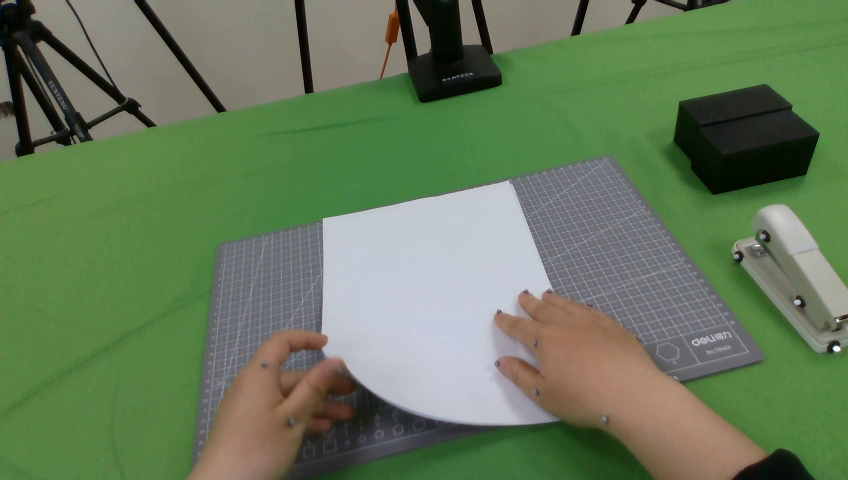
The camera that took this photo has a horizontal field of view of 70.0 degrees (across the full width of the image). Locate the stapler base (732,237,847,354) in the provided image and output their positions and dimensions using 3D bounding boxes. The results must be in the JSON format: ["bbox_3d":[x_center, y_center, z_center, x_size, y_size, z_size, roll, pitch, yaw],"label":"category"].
[{"bbox_3d":[0.311,0.036,0.507,0.041,0.025,0.129,-15,43,-2],"label":"stapler base"}]

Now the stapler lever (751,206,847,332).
[{"bbox_3d":[0.308,0.018,0.488,0.027,0.040,0.116,-15,43,-2],"label":"stapler lever"}]
